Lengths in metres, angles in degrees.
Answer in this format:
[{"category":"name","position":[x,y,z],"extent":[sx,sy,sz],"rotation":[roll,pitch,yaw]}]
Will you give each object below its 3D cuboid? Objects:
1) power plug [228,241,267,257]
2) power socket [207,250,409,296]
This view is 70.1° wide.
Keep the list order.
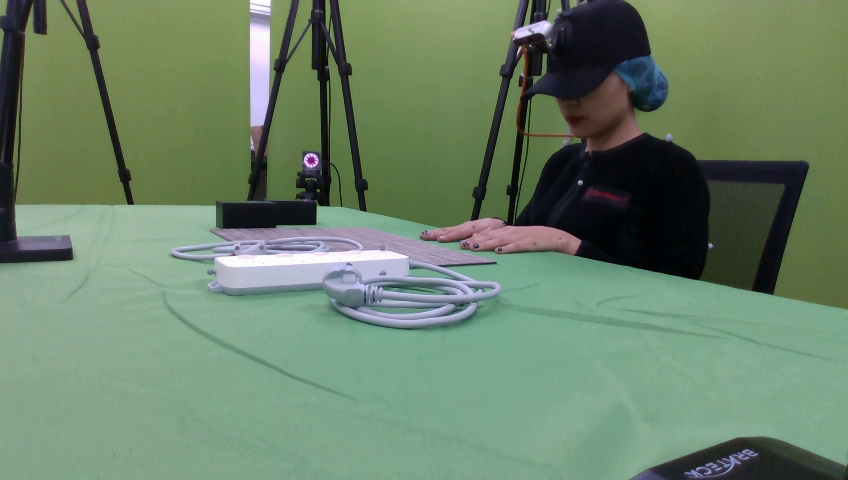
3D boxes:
[{"category":"power plug","position":[-0.217,0.024,0.738],"extent":[0.053,0.035,0.072],"rotation":[-23,-5,-9]},{"category":"power socket","position":[-0.119,0.033,0.668],"extent":[0.228,0.032,0.072],"rotation":[-2,9,-31]}]
